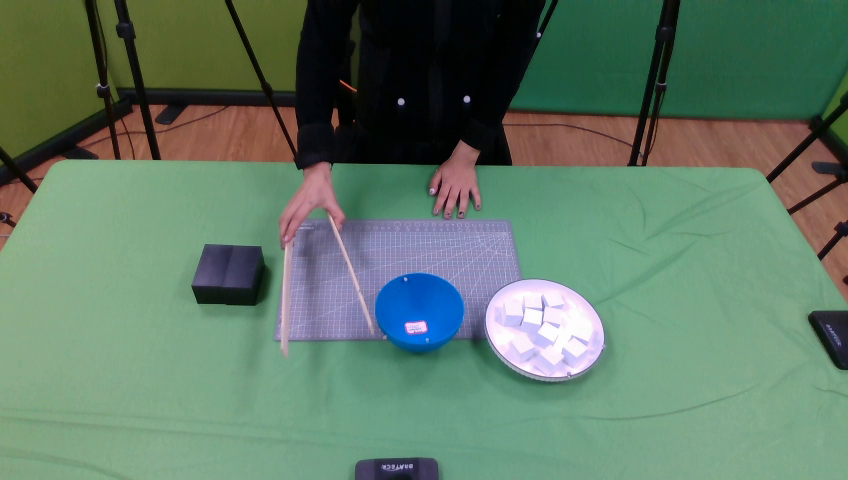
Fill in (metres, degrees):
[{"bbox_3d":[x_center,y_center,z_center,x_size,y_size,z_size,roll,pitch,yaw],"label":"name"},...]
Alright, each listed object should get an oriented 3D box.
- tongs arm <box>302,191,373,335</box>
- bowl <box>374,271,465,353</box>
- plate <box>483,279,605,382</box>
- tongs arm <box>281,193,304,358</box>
[{"bbox_3d":[-0.159,0.027,1.062,0.051,0.027,0.382,-18,43,-8],"label":"tongs arm"},{"bbox_3d":[-0.009,0.136,1.024,0.151,0.077,0.150,2,47,-2],"label":"bowl"},{"bbox_3d":[0.204,0.158,1.046,0.208,0.039,0.206,3,47,-3],"label":"plate"},{"bbox_3d":[-0.230,0.044,1.053,0.028,0.028,0.385,-13,42,3],"label":"tongs arm"}]
